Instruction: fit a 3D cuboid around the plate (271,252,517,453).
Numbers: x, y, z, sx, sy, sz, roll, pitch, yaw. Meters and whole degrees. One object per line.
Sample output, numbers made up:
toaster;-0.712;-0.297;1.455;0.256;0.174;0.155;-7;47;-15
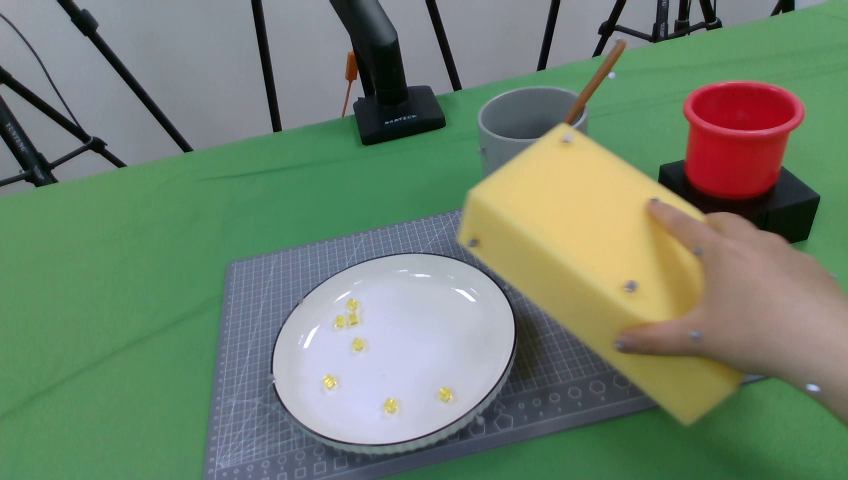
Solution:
plate;-0.024;0.092;0.519;0.207;0.039;0.205;-6;40;6

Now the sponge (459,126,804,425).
sponge;0.143;0.016;0.442;0.205;0.061;0.118;39;57;20

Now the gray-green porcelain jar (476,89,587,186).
gray-green porcelain jar;0.111;-0.071;0.613;0.106;0.128;0.105;-7;40;6

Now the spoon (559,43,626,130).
spoon;0.136;-0.100;0.583;0.022;0.195;0.041;19;35;-8
